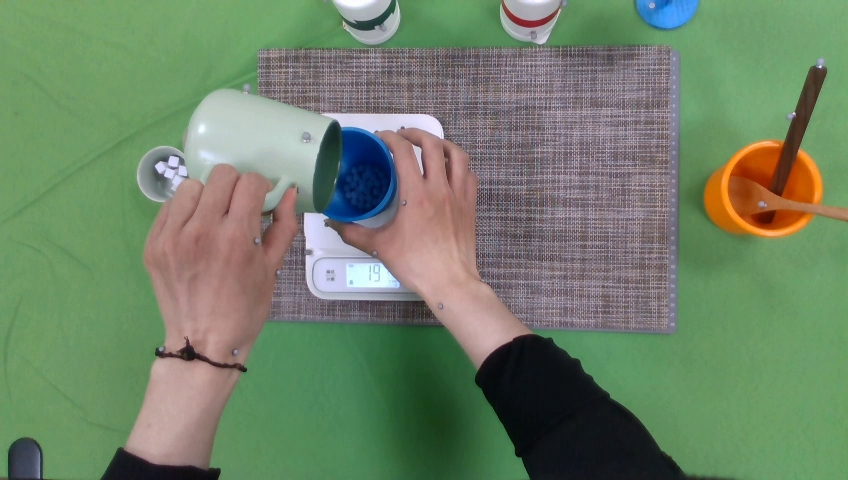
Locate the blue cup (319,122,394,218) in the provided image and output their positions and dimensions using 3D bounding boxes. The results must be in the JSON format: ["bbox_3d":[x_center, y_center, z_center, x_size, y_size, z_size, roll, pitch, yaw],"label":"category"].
[{"bbox_3d":[-0.067,-0.061,0.583,0.092,0.100,0.092,0,90,3],"label":"blue cup"}]

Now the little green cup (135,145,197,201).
[{"bbox_3d":[-0.278,-0.071,0.666,0.061,0.038,0.061,0,88,4],"label":"little green cup"}]

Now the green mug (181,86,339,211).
[{"bbox_3d":[-0.134,-0.062,0.482,0.105,0.124,0.093,12,127,4],"label":"green mug"}]

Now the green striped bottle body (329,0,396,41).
[{"bbox_3d":[-0.066,-0.253,0.614,0.063,0.119,0.063,0,88,5],"label":"green striped bottle body"}]

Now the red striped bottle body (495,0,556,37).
[{"bbox_3d":[0.103,-0.253,0.600,0.063,0.120,0.063,0,88,5],"label":"red striped bottle body"}]

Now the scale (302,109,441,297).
[{"bbox_3d":[-0.056,-0.039,0.647,0.148,0.031,0.200,0,89,5],"label":"scale"}]

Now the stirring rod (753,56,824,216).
[{"bbox_3d":[0.334,-0.088,0.562,0.014,0.178,0.006,10,48,19],"label":"stirring rod"}]

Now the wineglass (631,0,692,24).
[{"bbox_3d":[0.245,-0.266,0.562,0.073,0.172,0.073,0,87,6],"label":"wineglass"}]

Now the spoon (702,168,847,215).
[{"bbox_3d":[0.352,-0.035,0.559,0.022,0.192,0.041,9,98,-38],"label":"spoon"}]
